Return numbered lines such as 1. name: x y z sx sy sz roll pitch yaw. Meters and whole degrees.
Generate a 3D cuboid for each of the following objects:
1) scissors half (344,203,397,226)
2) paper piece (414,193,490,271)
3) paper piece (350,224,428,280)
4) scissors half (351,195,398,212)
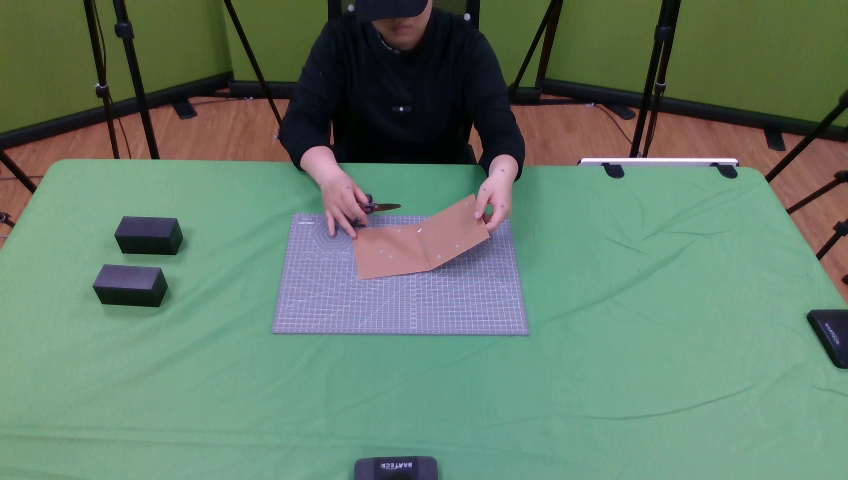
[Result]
1. scissors half: -0.104 -0.054 1.172 0.175 0.013 0.040 -14 42 48
2. paper piece: 0.051 -0.018 1.176 0.138 0.009 0.135 -28 46 13
3. paper piece: -0.071 0.019 1.179 0.135 0.004 0.135 -6 45 -9
4. scissors half: -0.096 -0.070 1.180 0.174 0.013 0.040 8 65 58
